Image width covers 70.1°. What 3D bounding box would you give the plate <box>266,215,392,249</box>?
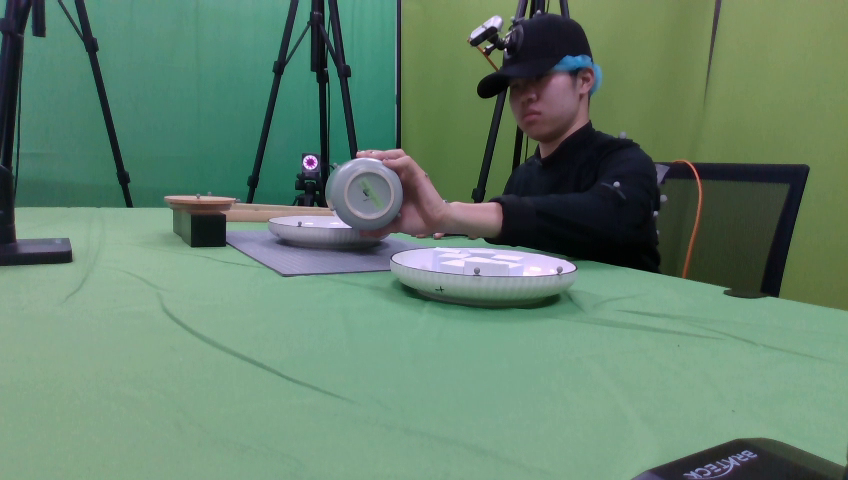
[{"bbox_3d":[-0.159,-0.015,1.019,0.209,0.038,0.209,3,7,0],"label":"plate"}]

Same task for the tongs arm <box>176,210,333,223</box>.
[{"bbox_3d":[-0.337,-0.053,1.329,0.389,0.028,0.028,-1,6,-27],"label":"tongs arm"}]

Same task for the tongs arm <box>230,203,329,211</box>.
[{"bbox_3d":[-0.362,-0.068,1.406,0.386,0.026,0.050,2,9,-14],"label":"tongs arm"}]

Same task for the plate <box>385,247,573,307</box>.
[{"bbox_3d":[0.060,0.041,0.678,0.208,0.039,0.207,3,7,0],"label":"plate"}]

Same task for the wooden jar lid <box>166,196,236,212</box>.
[{"bbox_3d":[-0.369,-0.060,1.001,0.108,0.020,0.108,3,6,0],"label":"wooden jar lid"}]

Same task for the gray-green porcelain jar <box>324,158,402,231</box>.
[{"bbox_3d":[-0.092,-0.069,0.900,0.106,0.106,0.126,1,6,-14],"label":"gray-green porcelain jar"}]
